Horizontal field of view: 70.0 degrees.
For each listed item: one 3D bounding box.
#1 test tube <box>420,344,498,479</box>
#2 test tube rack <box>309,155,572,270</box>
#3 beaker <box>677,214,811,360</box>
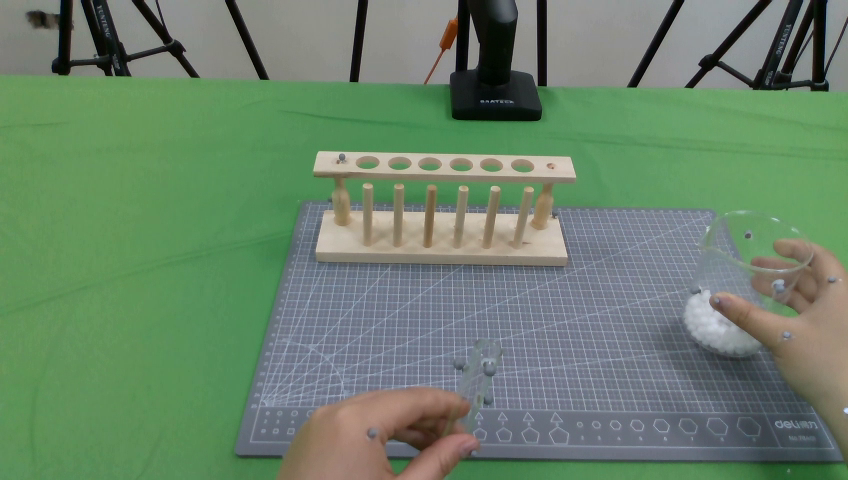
[{"bbox_3d":[0.013,0.120,0.350,0.017,0.151,0.017,13,30,-7],"label":"test tube"},{"bbox_3d":[0.015,-0.026,0.583,0.242,0.086,0.066,1,41,-1],"label":"test tube rack"},{"bbox_3d":[0.248,0.041,0.488,0.084,0.101,0.073,0,38,2],"label":"beaker"}]
